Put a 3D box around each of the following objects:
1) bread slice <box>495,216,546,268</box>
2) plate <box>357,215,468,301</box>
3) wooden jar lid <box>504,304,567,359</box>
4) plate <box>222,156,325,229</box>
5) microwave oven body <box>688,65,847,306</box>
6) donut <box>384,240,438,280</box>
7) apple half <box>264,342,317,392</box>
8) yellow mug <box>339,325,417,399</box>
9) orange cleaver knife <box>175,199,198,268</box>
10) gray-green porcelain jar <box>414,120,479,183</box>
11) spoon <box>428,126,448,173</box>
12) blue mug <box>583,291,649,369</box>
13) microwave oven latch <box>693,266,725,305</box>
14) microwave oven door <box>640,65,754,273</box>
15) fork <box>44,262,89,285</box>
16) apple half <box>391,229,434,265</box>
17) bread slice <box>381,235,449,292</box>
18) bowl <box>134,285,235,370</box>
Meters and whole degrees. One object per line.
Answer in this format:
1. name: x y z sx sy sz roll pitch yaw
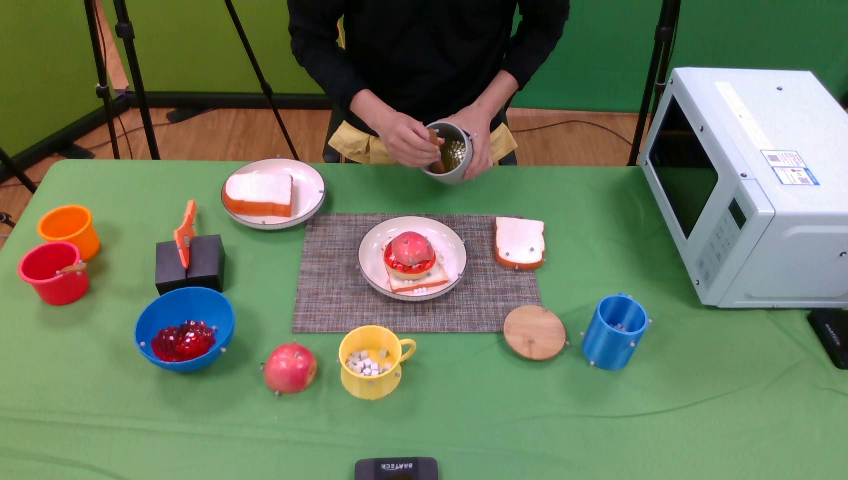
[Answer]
1. bread slice: 0.194 0.002 1.204 0.105 0.019 0.131 5 46 2
2. plate: -0.022 0.037 1.141 0.208 0.039 0.206 2 46 -2
3. wooden jar lid: 0.192 0.161 1.051 0.108 0.021 0.107 3 50 -3
4. plate: -0.308 -0.095 1.251 0.209 0.038 0.208 2 47 -2
5. microwave oven body: 0.669 -0.111 1.176 0.326 0.261 0.439 0 46 -3
6. donut: -0.025 0.030 1.109 0.099 0.048 0.098 3 46 -2
7. apple half: -0.214 0.198 0.970 0.074 0.053 0.080 19 48 10
8. yellow mug: -0.072 0.190 0.978 0.131 0.064 0.099 -17 50 -20
9. orange cleaver knife: -0.438 -0.017 1.138 0.012 0.077 0.210 -13 27 -7
10. gray-green porcelain jar: 0.048 -0.168 1.179 0.106 0.127 0.105 -1 87 16
11. spoon: 0.025 -0.160 1.116 0.041 0.194 0.021 21 72 16
12. blue mug: 0.324 0.142 1.023 0.082 0.106 0.116 15 47 11
13. microwave oven latch: 0.523 0.082 1.115 0.030 0.029 0.078 3 46 0
14. microwave oven door: 0.523 -0.147 1.193 0.039 0.245 0.353 0 47 -3
15. fork: -0.598 0.054 1.014 0.207 0.019 0.028 -15 29 45
16. apple half: -0.021 0.004 1.083 0.081 0.033 0.081 7 49 -8
17. bread slice: -0.026 0.039 1.140 0.107 0.018 0.133 -12 49 -16
18. bowl: -0.377 0.155 0.981 0.151 0.077 0.150 2 46 -2
